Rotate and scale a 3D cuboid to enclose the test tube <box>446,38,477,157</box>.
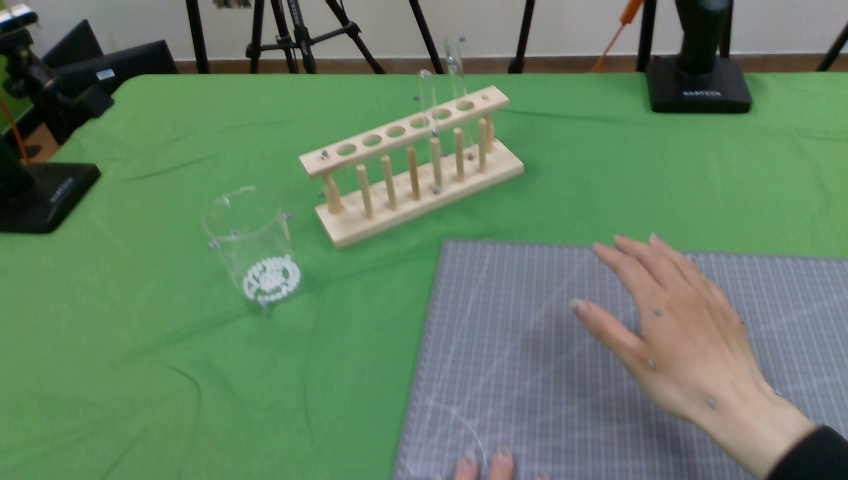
[{"bbox_3d":[0.043,-0.154,0.678,0.017,0.152,0.017,-7,45,8],"label":"test tube"}]

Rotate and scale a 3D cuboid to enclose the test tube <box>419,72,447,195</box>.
[{"bbox_3d":[0.011,-0.109,0.644,0.017,0.152,0.017,-4,44,5],"label":"test tube"}]

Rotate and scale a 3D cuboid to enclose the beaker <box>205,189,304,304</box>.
[{"bbox_3d":[-0.166,0.009,0.605,0.074,0.101,0.083,-34,49,-24],"label":"beaker"}]

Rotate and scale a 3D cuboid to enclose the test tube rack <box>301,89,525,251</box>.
[{"bbox_3d":[-0.006,-0.082,0.683,0.242,0.086,0.066,-23,47,-15],"label":"test tube rack"}]
